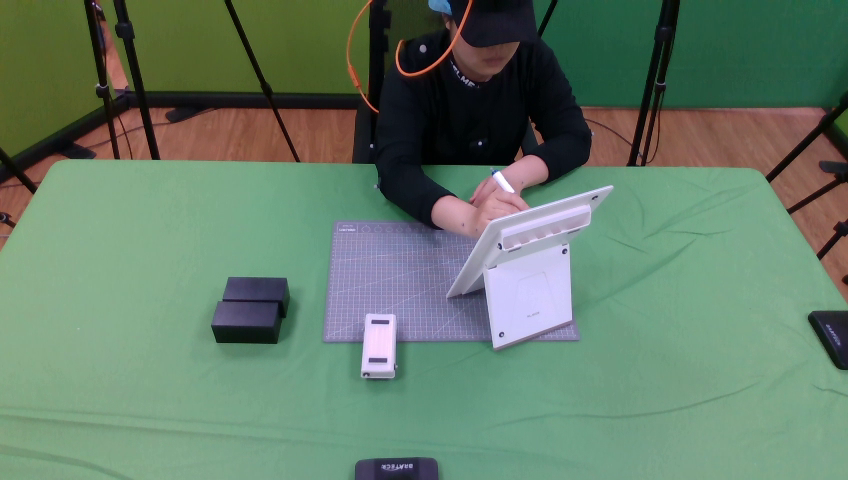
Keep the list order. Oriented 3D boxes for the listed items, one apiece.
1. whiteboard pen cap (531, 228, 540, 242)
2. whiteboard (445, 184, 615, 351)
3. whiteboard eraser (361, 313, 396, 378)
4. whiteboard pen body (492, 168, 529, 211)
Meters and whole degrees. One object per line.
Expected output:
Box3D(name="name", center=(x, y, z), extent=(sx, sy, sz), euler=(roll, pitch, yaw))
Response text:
Box3D(name="whiteboard pen cap", center=(0.225, -0.011, 1.221), extent=(0.018, 0.018, 0.033), euler=(12, 29, 8))
Box3D(name="whiteboard", center=(0.187, 0.065, 0.989), extent=(0.217, 0.306, 0.143), euler=(-15, 68, -18))
Box3D(name="whiteboard eraser", center=(-0.075, 0.176, 1.006), extent=(0.055, 0.042, 0.112), euler=(3, 50, -4))
Box3D(name="whiteboard pen body", center=(0.162, -0.065, 1.034), extent=(0.017, 0.017, 0.140), euler=(-29, 76, -28))
